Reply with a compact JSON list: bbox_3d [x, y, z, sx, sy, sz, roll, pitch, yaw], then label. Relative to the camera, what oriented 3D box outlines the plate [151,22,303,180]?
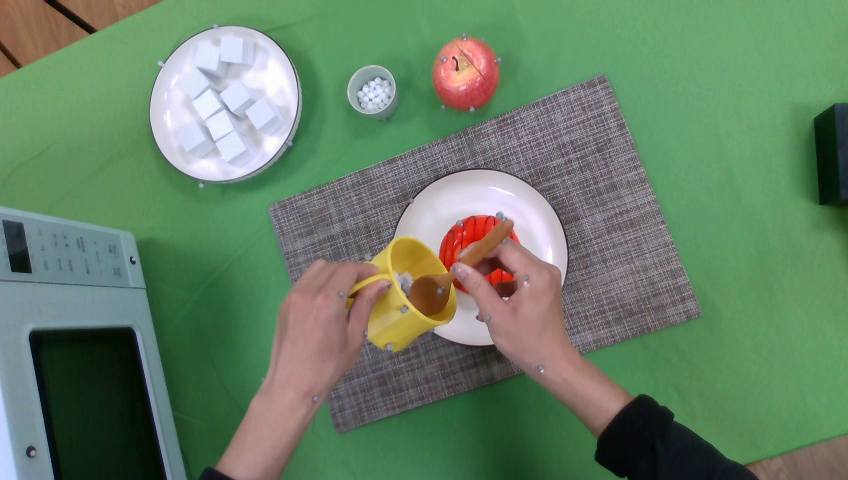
[{"bbox_3d":[-0.252,-0.178,0.790,0.207,0.039,0.207,-1,84,11],"label":"plate"}]

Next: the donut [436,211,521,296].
[{"bbox_3d":[0.062,0.015,0.699,0.099,0.048,0.099,-1,87,11],"label":"donut"}]

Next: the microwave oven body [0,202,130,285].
[{"bbox_3d":[-0.499,0.221,0.682,0.326,0.261,0.440,-17,82,8],"label":"microwave oven body"}]

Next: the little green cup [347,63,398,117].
[{"bbox_3d":[-0.062,-0.184,0.756,0.061,0.039,0.061,-1,84,11],"label":"little green cup"}]

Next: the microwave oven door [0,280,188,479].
[{"bbox_3d":[-0.350,0.219,0.650,0.039,0.245,0.354,-17,81,8],"label":"microwave oven door"}]

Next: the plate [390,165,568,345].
[{"bbox_3d":[0.062,0.017,0.710,0.209,0.038,0.208,-1,85,10],"label":"plate"}]

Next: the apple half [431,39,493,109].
[{"bbox_3d":[0.039,-0.188,0.720,0.053,0.075,0.080,-41,82,9],"label":"apple half"}]

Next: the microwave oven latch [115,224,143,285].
[{"bbox_3d":[-0.388,0.020,0.778,0.030,0.029,0.079,-15,83,8],"label":"microwave oven latch"}]

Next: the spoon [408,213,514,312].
[{"bbox_3d":[0.031,0.025,0.556,0.041,0.194,0.021,46,58,2],"label":"spoon"}]

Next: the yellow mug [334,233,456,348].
[{"bbox_3d":[-0.033,0.050,0.597,0.064,0.132,0.099,-33,67,29],"label":"yellow mug"}]

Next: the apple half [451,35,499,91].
[{"bbox_3d":[0.068,-0.214,0.716,0.033,0.081,0.081,-41,79,8],"label":"apple half"}]
